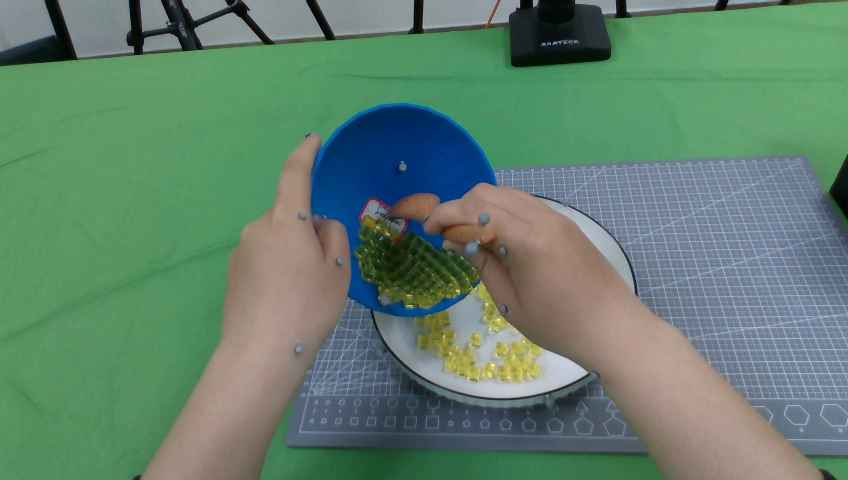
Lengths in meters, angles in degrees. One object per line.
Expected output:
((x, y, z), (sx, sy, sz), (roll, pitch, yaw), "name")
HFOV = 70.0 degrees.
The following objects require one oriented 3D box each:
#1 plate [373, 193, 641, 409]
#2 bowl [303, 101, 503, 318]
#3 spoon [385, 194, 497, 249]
((0.063, 0.045, 0.488), (0.207, 0.039, 0.205), (-4, 47, 5), "plate")
((-0.025, -0.019, 0.452), (0.151, 0.152, 0.076), (-38, 14, -24), "bowl")
((0.010, -0.011, 0.373), (0.042, 0.022, 0.192), (-17, 14, -11), "spoon")
